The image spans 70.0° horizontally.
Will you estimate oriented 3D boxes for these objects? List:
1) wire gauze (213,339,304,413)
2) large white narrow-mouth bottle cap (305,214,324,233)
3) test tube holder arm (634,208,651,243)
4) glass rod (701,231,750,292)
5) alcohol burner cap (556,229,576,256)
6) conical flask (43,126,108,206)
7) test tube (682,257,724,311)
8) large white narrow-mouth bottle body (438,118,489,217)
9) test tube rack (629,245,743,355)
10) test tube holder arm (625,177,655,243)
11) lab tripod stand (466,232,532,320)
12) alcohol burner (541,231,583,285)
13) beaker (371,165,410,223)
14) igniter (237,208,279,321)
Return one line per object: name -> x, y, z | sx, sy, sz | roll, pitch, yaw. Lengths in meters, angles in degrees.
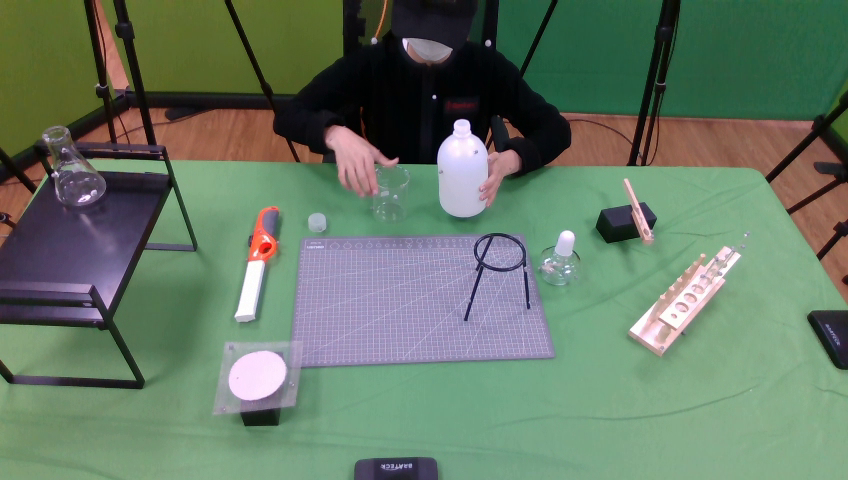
wire gauze -> -0.250, 0.203, 0.924 | 0.121, 0.011, 0.124 | -1, 46, -3
large white narrow-mouth bottle cap -> -0.219, -0.033, 1.214 | 0.038, 0.024, 0.037 | 2, 46, -2
test tube holder arm -> 0.428, -0.030, 1.189 | 0.010, 0.015, 0.087 | 1, 47, -2
glass rod -> 0.519, 0.045, 1.050 | 0.008, 0.201, 0.008 | 0, 55, 0
alcohol burner cap -> 0.260, 0.002, 1.098 | 0.034, 0.048, 0.033 | 3, 40, -2
conical flask -> -0.555, -0.119, 0.953 | 0.075, 0.122, 0.075 | 2, 46, -2
test tube -> 0.475, 0.080, 1.037 | 0.017, 0.151, 0.017 | 2, 51, -2
large white narrow-mouth bottle body -> 0.078, -0.148, 1.191 | 0.102, 0.195, 0.101 | -2, 40, 2
test tube rack -> 0.474, 0.095, 1.091 | 0.242, 0.085, 0.066 | -34, 56, -31
test tube holder arm -> 0.433, -0.063, 1.220 | 0.013, 0.015, 0.177 | 1, 47, -3
lab tripod stand -> 0.125, 0.059, 1.065 | 0.148, 0.132, 0.147 | 1, 45, 0
alcohol burner -> 0.258, 0.028, 1.123 | 0.078, 0.120, 0.077 | 1, 48, -1
beaker -> -0.065, -0.092, 1.227 | 0.084, 0.101, 0.073 | -25, 53, -26
igniter -> -0.309, 0.036, 1.136 | 0.057, 0.025, 0.274 | -6, 45, 4
